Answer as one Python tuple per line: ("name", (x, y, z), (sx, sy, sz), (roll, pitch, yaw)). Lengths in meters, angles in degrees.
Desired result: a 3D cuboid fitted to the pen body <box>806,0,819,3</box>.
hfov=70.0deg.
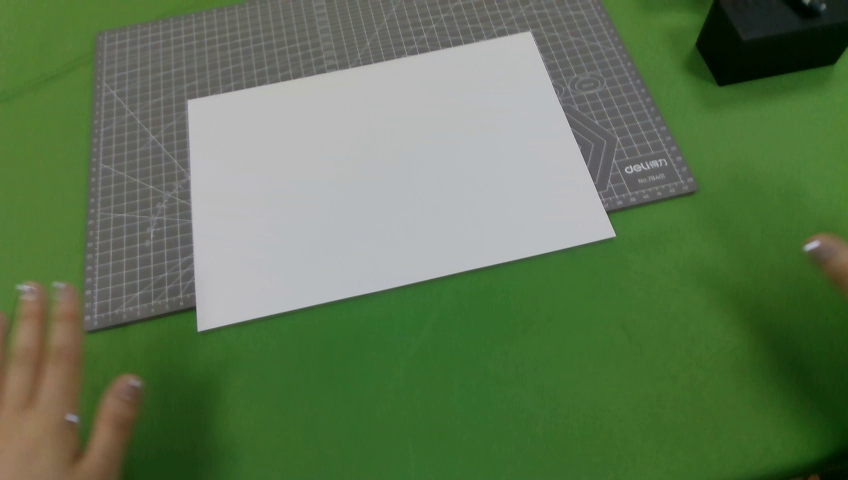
("pen body", (0.262, -0.237, 0.479), (0.017, 0.017, 0.143), (-24, 64, -9))
